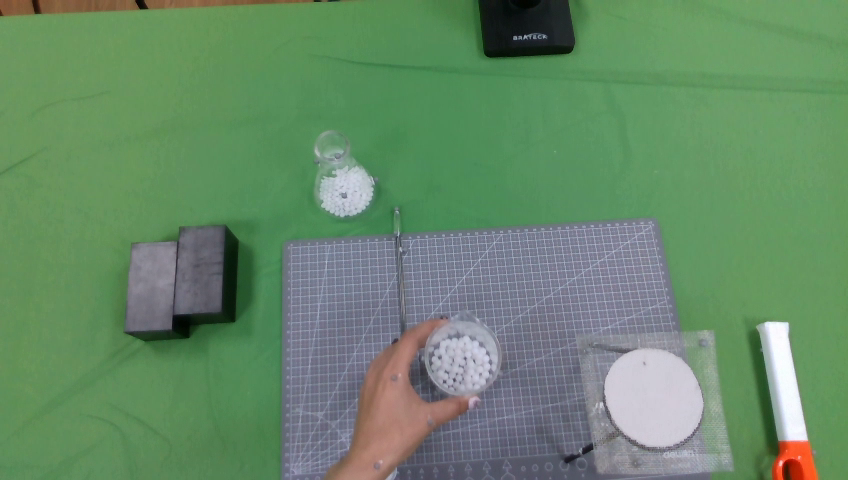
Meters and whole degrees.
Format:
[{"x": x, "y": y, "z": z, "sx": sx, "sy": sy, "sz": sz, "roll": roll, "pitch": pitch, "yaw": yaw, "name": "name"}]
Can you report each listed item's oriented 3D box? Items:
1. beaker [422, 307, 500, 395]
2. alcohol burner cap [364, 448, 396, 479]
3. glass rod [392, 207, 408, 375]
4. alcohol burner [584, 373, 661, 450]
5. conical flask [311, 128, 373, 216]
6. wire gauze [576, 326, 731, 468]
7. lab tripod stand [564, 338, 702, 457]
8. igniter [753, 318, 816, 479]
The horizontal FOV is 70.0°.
[{"x": 0.036, "y": 0.118, "z": 0.618, "sx": 0.074, "sy": 0.101, "sz": 0.083, "roll": 4, "pitch": 72, "yaw": 2, "name": "beaker"}, {"x": -0.046, "y": 0.230, "z": 0.620, "sx": 0.034, "sy": 0.048, "sz": 0.033, "roll": 0, "pitch": 72, "yaw": -1, "name": "alcohol burner cap"}, {"x": -0.028, "y": 0.055, "z": 0.696, "sx": 0.008, "sy": 0.008, "sz": 0.198, "roll": -4, "pitch": 72, "yaw": -3, "name": "glass rod"}, {"x": 0.203, "y": 0.171, "z": 0.607, "sx": 0.078, "sy": 0.120, "sz": 0.077, "roll": 0, "pitch": 72, "yaw": 2, "name": "alcohol burner"}, {"x": -0.099, "y": -0.081, "z": 0.684, "sx": 0.075, "sy": 0.122, "sz": 0.075, "roll": 0, "pitch": 71, "yaw": 0, "name": "conical flask"}, {"x": 0.202, "y": 0.138, "z": 0.536, "sx": 0.125, "sy": 0.011, "sz": 0.120, "roll": -1, "pitch": 73, "yaw": -1, "name": "wire gauze"}, {"x": 0.201, "y": 0.161, "z": 0.599, "sx": 0.148, "sy": 0.132, "sz": 0.147, "roll": 0, "pitch": 73, "yaw": -1, "name": "lab tripod stand"}, {"x": 0.389, "y": 0.219, "z": 0.642, "sx": 0.057, "sy": 0.025, "sz": 0.274, "roll": 4, "pitch": 71, "yaw": -11, "name": "igniter"}]
